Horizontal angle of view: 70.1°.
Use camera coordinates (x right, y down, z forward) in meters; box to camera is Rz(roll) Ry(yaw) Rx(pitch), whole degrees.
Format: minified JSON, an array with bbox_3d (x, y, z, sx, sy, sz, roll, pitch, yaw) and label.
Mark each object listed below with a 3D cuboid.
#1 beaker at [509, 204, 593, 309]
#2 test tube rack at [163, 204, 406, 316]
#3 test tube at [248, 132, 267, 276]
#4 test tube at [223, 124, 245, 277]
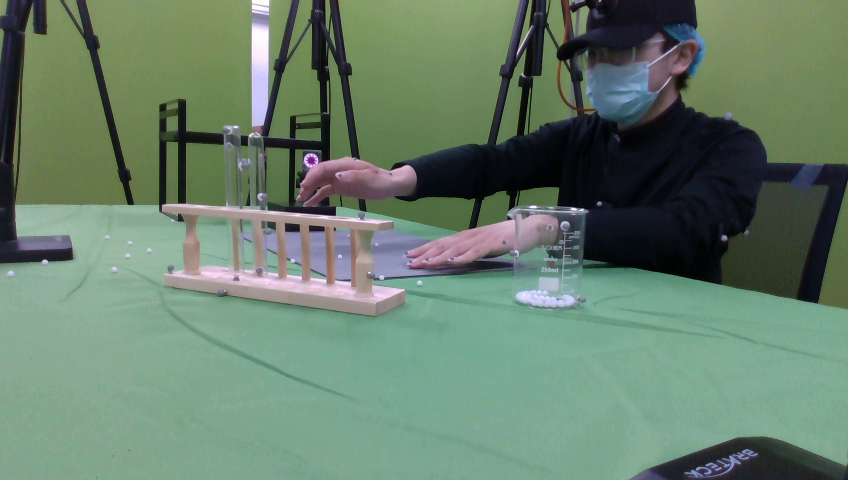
[{"bbox_3d":[0.126,0.015,0.613,0.084,0.100,0.074,1,7,-5],"label":"beaker"},{"bbox_3d":[-0.141,0.013,0.601,0.241,0.085,0.067,5,8,21],"label":"test tube rack"},{"bbox_3d":[-0.173,-0.036,0.629,0.017,0.150,0.017,0,7,0],"label":"test tube"},{"bbox_3d":[-0.186,-0.037,0.592,0.017,0.150,0.017,1,11,0],"label":"test tube"}]
